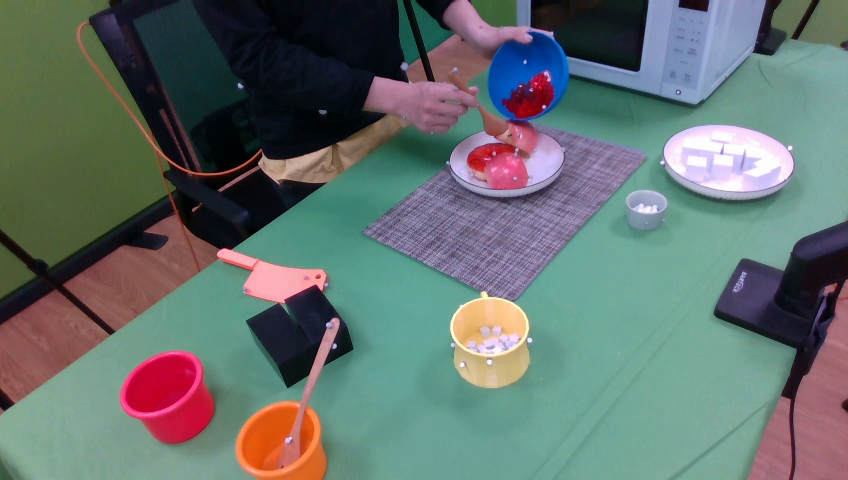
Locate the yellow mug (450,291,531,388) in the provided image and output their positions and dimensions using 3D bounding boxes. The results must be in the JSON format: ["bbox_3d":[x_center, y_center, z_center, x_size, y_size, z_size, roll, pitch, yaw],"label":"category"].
[{"bbox_3d":[0.085,0.120,0.786,0.100,0.064,0.130,-7,39,1],"label":"yellow mug"}]

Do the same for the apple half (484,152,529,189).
[{"bbox_3d":[0.144,-0.116,1.032,0.081,0.033,0.081,3,77,-11],"label":"apple half"}]

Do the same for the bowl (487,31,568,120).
[{"bbox_3d":[0.195,-0.284,1.070,0.150,0.151,0.077,25,19,33],"label":"bowl"}]

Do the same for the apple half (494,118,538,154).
[{"bbox_3d":[0.176,-0.197,1.114,0.080,0.053,0.075,31,13,34],"label":"apple half"}]

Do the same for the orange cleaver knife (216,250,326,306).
[{"bbox_3d":[-0.248,0.058,0.945,0.210,0.012,0.077,13,49,20],"label":"orange cleaver knife"}]

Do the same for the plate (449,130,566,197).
[{"bbox_3d":[0.150,-0.138,1.097,0.209,0.038,0.208,-4,40,4],"label":"plate"}]

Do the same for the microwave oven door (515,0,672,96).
[{"bbox_3d":[0.344,-0.455,1.259,0.353,0.245,0.039,26,51,33],"label":"microwave oven door"}]

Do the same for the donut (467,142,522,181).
[{"bbox_3d":[0.127,-0.144,1.091,0.099,0.048,0.098,-7,36,5],"label":"donut"}]

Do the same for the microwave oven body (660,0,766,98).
[{"bbox_3d":[0.472,-0.513,1.317,0.438,0.261,0.327,26,51,34],"label":"microwave oven body"}]

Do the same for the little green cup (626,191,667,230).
[{"bbox_3d":[0.352,-0.046,0.963,0.061,0.039,0.061,-4,40,4],"label":"little green cup"}]

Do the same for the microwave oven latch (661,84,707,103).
[{"bbox_3d":[0.517,-0.296,1.204,0.078,0.029,0.030,27,52,35],"label":"microwave oven latch"}]

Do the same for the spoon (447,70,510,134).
[{"bbox_3d":[0.087,-0.219,0.978,0.041,0.195,0.021,-22,57,26],"label":"spoon"}]

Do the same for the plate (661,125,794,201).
[{"bbox_3d":[0.513,-0.128,1.035,0.207,0.039,0.206,-4,40,4],"label":"plate"}]

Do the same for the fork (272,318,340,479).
[{"bbox_3d":[-0.131,0.186,0.676,0.028,0.019,0.207,17,90,28],"label":"fork"}]
